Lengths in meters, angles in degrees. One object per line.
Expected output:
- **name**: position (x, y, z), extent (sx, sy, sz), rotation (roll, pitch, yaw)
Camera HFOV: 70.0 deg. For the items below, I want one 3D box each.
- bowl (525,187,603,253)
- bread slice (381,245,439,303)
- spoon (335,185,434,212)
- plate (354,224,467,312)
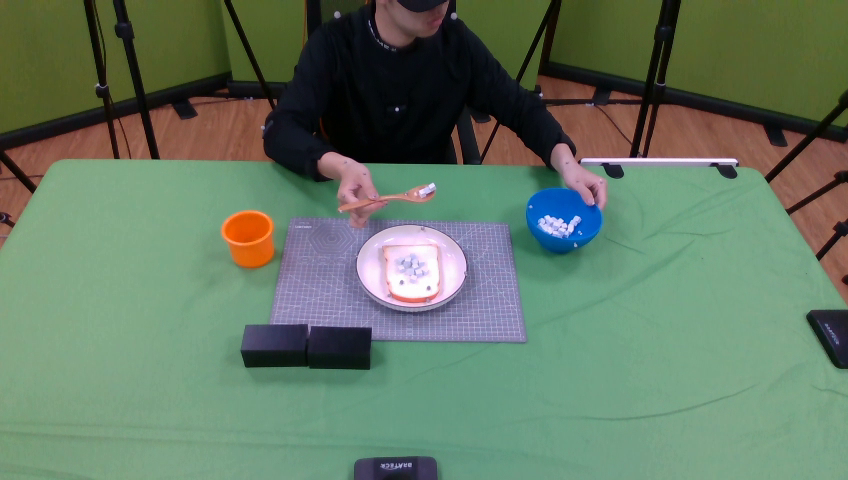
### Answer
- **bowl**: position (0.271, -0.028, 1.206), extent (0.151, 0.077, 0.150), rotation (3, 46, -2)
- **bread slice**: position (-0.022, 0.061, 1.126), extent (0.107, 0.018, 0.133), rotation (-3, 45, -8)
- **spoon**: position (-0.069, -0.075, 1.100), extent (0.194, 0.022, 0.041), rotation (-10, 51, -27)
- **plate**: position (-0.025, 0.055, 1.128), extent (0.209, 0.038, 0.208), rotation (3, 46, -2)
